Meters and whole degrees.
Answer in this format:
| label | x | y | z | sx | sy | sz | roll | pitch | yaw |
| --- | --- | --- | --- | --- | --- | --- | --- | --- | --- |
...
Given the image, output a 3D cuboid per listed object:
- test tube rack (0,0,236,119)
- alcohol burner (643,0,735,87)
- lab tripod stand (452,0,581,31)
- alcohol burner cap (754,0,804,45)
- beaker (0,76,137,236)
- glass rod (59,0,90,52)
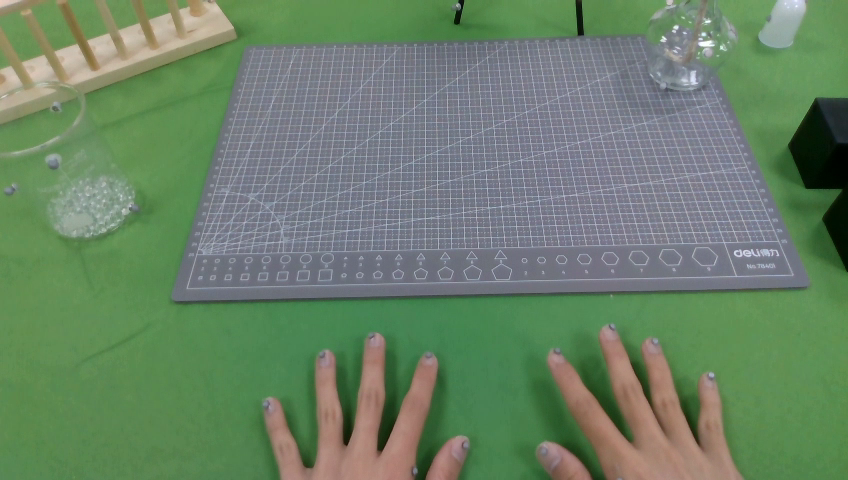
| label | x | y | z | sx | sy | sz | roll | pitch | yaw |
| --- | --- | --- | --- | --- | --- | --- | --- | --- | --- |
| test tube rack | -0.313 | -0.204 | 0.567 | 0.242 | 0.086 | 0.066 | -27 | 57 | -17 |
| alcohol burner | 0.231 | -0.192 | 0.517 | 0.078 | 0.120 | 0.077 | 0 | 55 | 1 |
| lab tripod stand | 0.100 | -0.285 | 0.583 | 0.148 | 0.132 | 0.147 | 0 | 53 | 0 |
| alcohol burner cap | 0.342 | -0.216 | 0.579 | 0.034 | 0.048 | 0.033 | -1 | 52 | 1 |
| beaker | -0.268 | -0.056 | 0.447 | 0.084 | 0.101 | 0.073 | -24 | 56 | -14 |
| glass rod | -0.327 | -0.243 | 0.513 | 0.008 | 0.201 | 0.008 | 2 | 55 | -2 |
